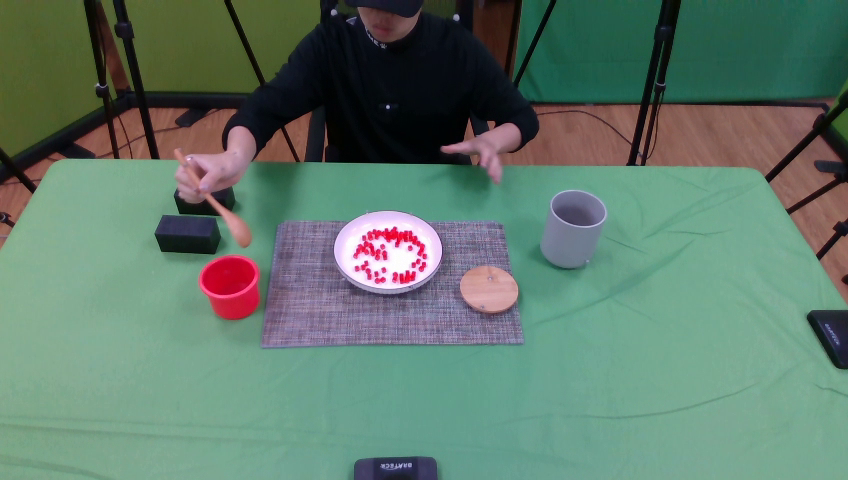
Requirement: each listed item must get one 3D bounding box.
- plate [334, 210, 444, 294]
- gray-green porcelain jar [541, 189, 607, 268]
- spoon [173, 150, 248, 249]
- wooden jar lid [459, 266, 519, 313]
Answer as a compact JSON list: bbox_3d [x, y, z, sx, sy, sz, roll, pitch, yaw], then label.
[{"bbox_3d":[-0.066,0.026,1.150,0.208,0.039,0.206,2,46,-2],"label":"plate"},{"bbox_3d":[0.283,-0.017,1.161,0.106,0.127,0.105,2,46,-2],"label":"gray-green porcelain jar"},{"bbox_3d":[-0.355,-0.066,1.003,0.194,0.021,0.041,52,32,-10],"label":"spoon"},{"bbox_3d":[0.118,0.093,1.111,0.108,0.021,0.107,1,47,-1],"label":"wooden jar lid"}]
